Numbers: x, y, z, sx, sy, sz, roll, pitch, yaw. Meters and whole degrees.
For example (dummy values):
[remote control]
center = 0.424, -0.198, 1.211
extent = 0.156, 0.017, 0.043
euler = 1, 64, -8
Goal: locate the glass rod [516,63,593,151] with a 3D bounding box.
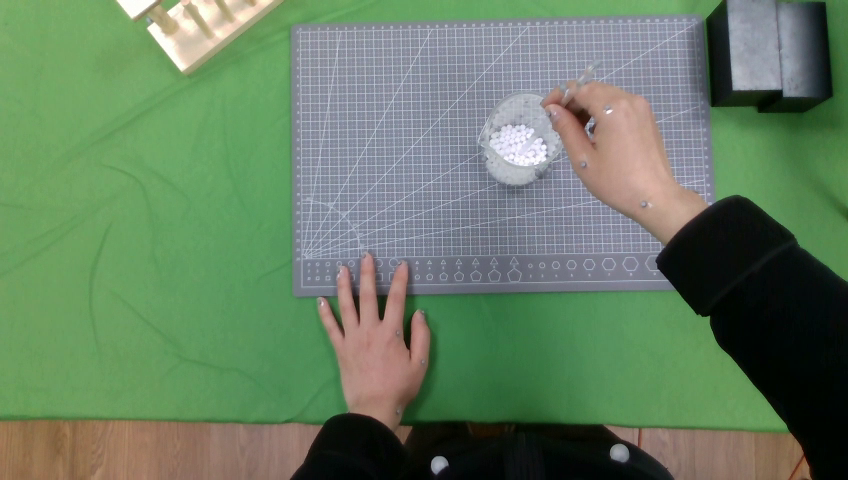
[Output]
[glass rod]
center = 0.107, -0.108, 0.521
extent = 0.008, 0.200, 0.008
euler = 1, 82, -5

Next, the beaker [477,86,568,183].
[beaker]
center = 0.092, -0.099, 0.602
extent = 0.084, 0.100, 0.074
euler = -12, 84, 0

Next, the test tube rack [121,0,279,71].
[test tube rack]
center = -0.188, -0.290, 0.632
extent = 0.242, 0.085, 0.066
euler = -39, 85, -3
